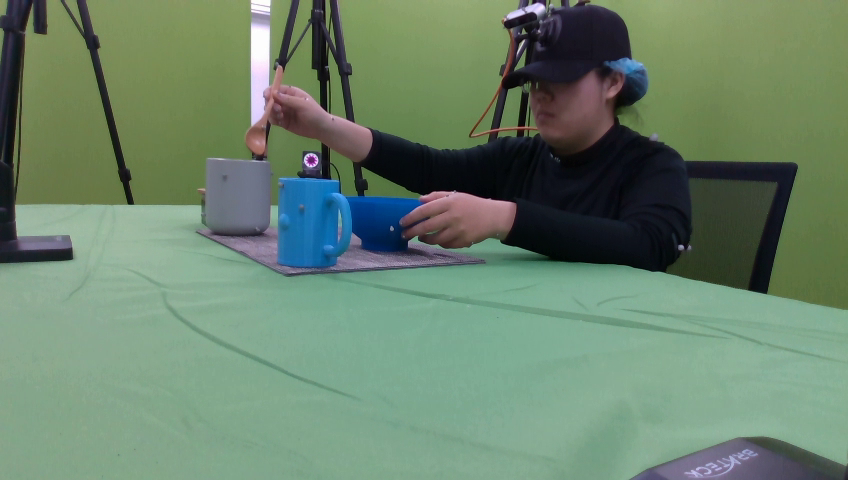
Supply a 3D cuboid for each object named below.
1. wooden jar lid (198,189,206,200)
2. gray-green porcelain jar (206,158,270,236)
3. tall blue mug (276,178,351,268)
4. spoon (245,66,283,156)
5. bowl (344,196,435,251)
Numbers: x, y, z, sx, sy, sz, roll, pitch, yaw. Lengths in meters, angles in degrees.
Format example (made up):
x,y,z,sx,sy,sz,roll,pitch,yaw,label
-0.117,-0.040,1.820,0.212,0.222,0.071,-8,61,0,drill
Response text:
x,y,z,sx,sy,sz,roll,pitch,yaw,label
-0.382,-0.088,1.175,0.108,0.020,0.108,3,8,0,wooden jar lid
-0.317,-0.074,1.031,0.106,0.126,0.106,3,7,0,gray-green porcelain jar
-0.134,-0.022,0.766,0.107,0.108,0.078,4,6,12,tall blue mug
-0.275,-0.231,1.065,0.021,0.193,0.042,-11,-33,42,spoon
-0.061,-0.026,0.943,0.151,0.077,0.151,3,7,0,bowl
